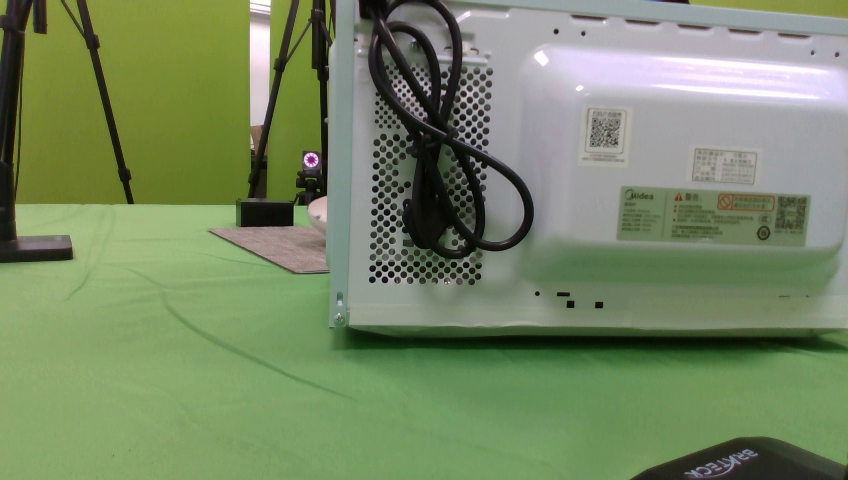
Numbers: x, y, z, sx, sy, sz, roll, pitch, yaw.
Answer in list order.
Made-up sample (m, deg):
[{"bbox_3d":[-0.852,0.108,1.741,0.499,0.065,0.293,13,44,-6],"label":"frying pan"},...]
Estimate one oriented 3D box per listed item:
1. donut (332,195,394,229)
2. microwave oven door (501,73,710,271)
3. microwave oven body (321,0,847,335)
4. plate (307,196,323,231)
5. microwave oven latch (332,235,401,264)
[{"bbox_3d":[-0.098,-0.045,0.980,0.099,0.048,0.099,4,17,-1],"label":"donut"},{"bbox_3d":[0.240,-0.102,0.884,0.039,0.243,0.354,-2,8,-30],"label":"microwave oven door"},{"bbox_3d":[0.133,-0.062,0.568,0.443,0.260,0.325,2,6,-8],"label":"microwave oven body"},{"bbox_3d":[-0.085,-0.034,0.984,0.209,0.038,0.209,5,19,-1],"label":"plate"},{"bbox_3d":[-0.066,0.010,0.701,0.079,0.029,0.030,2,6,-8],"label":"microwave oven latch"}]
